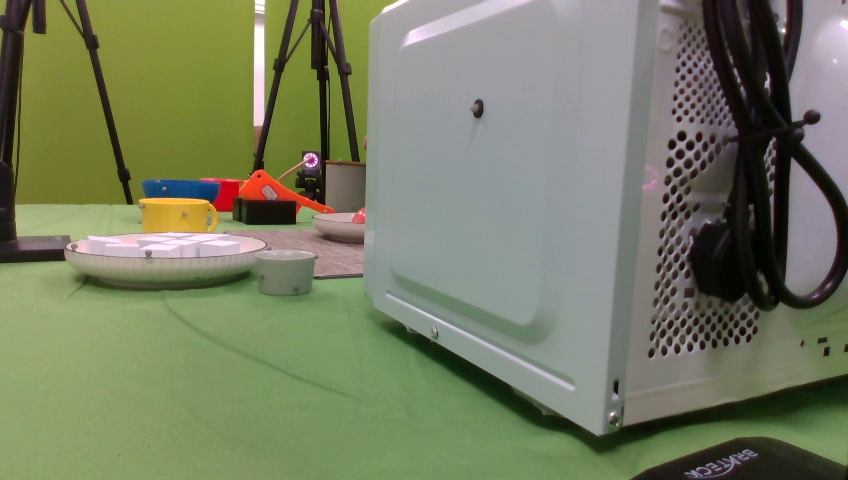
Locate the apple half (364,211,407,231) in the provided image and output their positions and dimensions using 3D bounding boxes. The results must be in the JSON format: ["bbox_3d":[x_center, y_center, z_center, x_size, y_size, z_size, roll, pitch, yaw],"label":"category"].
[{"bbox_3d":[-0.068,-0.037,1.103,0.081,0.033,0.081,-1,9,0],"label":"apple half"}]

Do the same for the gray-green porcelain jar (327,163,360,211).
[{"bbox_3d":[-0.187,-0.125,1.490,0.106,0.126,0.106,2,8,0],"label":"gray-green porcelain jar"}]

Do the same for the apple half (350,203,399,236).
[{"bbox_3d":[-0.082,-0.036,1.024,0.081,0.053,0.074,-3,11,-34],"label":"apple half"}]

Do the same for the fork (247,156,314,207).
[{"bbox_3d":[-0.360,-0.147,1.522,0.207,0.018,0.028,-43,13,-7],"label":"fork"}]

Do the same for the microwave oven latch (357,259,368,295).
[{"bbox_3d":[-0.019,0.031,0.530,0.079,0.029,0.030,-1,7,-27],"label":"microwave oven latch"}]

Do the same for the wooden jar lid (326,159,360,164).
[{"bbox_3d":[-0.185,-0.187,1.481,0.108,0.020,0.108,4,6,0],"label":"wooden jar lid"}]

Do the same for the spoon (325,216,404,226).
[{"bbox_3d":[-0.120,-0.043,1.272,0.195,0.021,0.041,-5,-13,-39],"label":"spoon"}]

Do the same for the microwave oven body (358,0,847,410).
[{"bbox_3d":[0.210,-0.051,0.471,0.444,0.260,0.324,-1,7,-28],"label":"microwave oven body"}]

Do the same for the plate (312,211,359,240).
[{"bbox_3d":[-0.091,-0.026,1.063,0.209,0.038,0.209,2,7,0],"label":"plate"}]

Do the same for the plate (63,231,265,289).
[{"bbox_3d":[-0.288,0.021,0.687,0.208,0.039,0.207,2,8,0],"label":"plate"}]

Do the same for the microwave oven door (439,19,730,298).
[{"bbox_3d":[0.181,-0.076,0.618,0.358,0.243,0.039,-2,8,-28],"label":"microwave oven door"}]

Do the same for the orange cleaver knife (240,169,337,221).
[{"bbox_3d":[-0.286,-0.082,1.298,0.212,0.077,0.012,25,-2,-31],"label":"orange cleaver knife"}]

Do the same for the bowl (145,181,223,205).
[{"bbox_3d":[-0.499,-0.081,1.261,0.151,0.077,0.151,2,8,0],"label":"bowl"}]

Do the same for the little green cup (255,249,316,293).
[{"bbox_3d":[-0.144,0.031,0.627,0.061,0.038,0.061,2,6,0],"label":"little green cup"}]

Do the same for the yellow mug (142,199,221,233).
[{"bbox_3d":[-0.373,-0.030,0.948,0.099,0.064,0.131,6,8,30],"label":"yellow mug"}]
